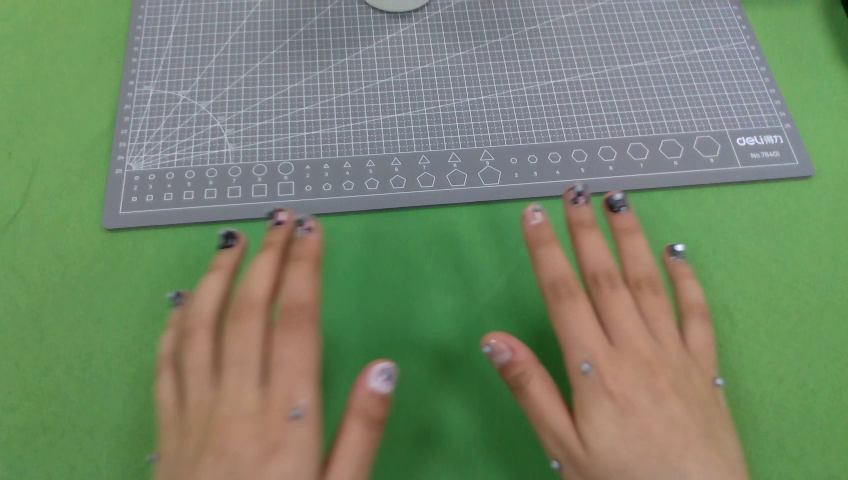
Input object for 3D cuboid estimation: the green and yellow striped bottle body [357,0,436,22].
[{"bbox_3d":[-0.019,-0.213,0.405,0.063,0.120,0.062,1,63,-1],"label":"green and yellow striped bottle body"}]
